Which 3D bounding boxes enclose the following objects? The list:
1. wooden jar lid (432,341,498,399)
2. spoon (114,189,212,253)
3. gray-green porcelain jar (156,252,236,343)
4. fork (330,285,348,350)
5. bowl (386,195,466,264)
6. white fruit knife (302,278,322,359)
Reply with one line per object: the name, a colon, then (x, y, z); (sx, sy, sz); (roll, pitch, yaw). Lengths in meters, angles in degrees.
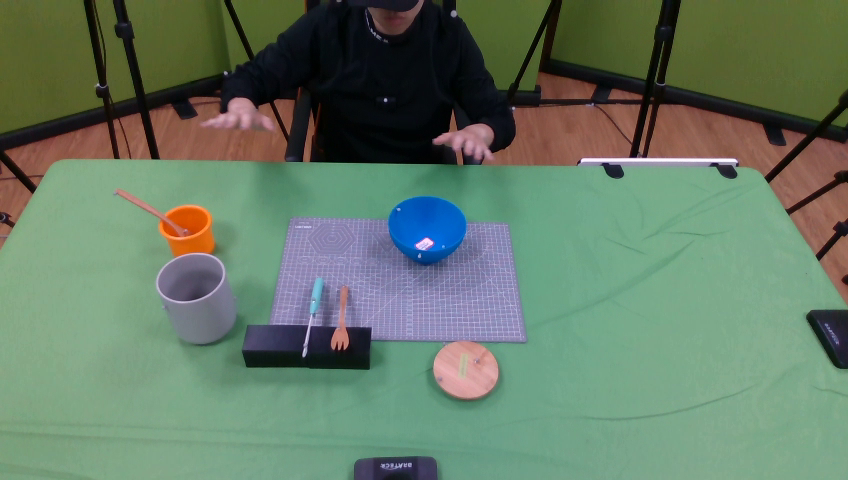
wooden jar lid: (0.067, 0.216, 0.997); (0.108, 0.021, 0.107); (1, 46, -1)
spoon: (-0.475, -0.037, 1.109); (0.021, 0.195, 0.041); (-29, 34, 32)
gray-green porcelain jar: (-0.371, 0.100, 0.999); (0.106, 0.127, 0.105); (2, 46, -2)
fork: (-0.140, 0.127, 1.021); (0.028, 0.019, 0.206); (-5, 28, -2)
bowl: (0.002, -0.007, 1.162); (0.151, 0.077, 0.150); (2, 46, -2)
white fruit knife: (-0.189, 0.126, 1.020); (0.016, 0.027, 0.206); (0, 33, -2)
